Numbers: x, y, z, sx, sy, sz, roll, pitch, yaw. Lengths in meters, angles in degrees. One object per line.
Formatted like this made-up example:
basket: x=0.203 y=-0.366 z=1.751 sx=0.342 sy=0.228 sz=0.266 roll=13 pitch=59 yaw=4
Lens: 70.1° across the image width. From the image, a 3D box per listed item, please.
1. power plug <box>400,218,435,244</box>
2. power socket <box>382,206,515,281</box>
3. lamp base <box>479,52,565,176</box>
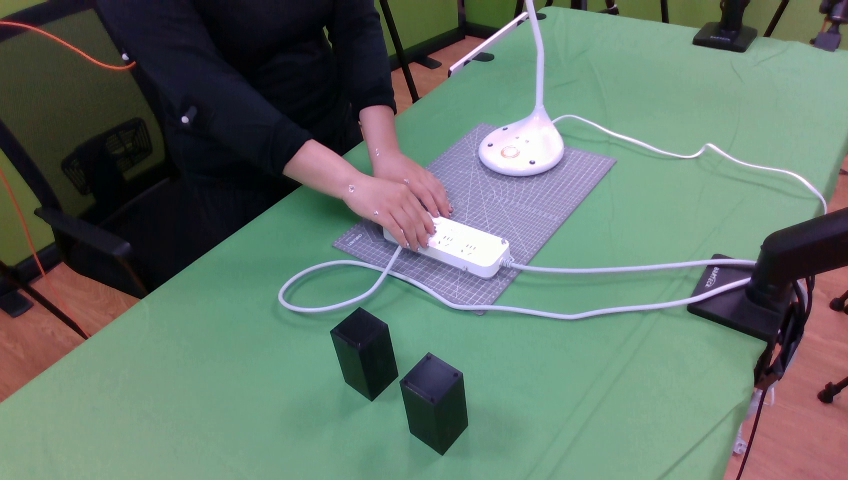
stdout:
power plug: x=-0.015 y=-0.006 z=0.938 sx=0.073 sy=0.053 sz=0.035 roll=-36 pitch=47 yaw=-25
power socket: x=0.032 y=0.002 z=0.950 sx=0.225 sy=0.033 sz=0.072 roll=21 pitch=49 yaw=29
lamp base: x=0.182 y=-0.235 z=1.093 sx=0.159 sy=0.181 sz=0.179 roll=18 pitch=44 yaw=27
